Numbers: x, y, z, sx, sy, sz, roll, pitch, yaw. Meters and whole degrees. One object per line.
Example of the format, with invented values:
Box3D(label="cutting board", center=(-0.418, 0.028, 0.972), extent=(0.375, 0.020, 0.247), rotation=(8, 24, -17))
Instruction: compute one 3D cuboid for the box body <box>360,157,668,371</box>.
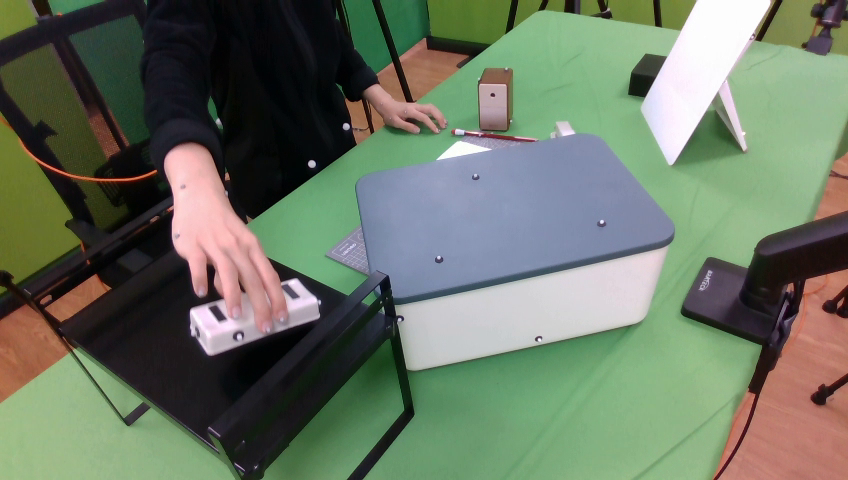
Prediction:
Box3D(label="box body", center=(0.109, 0.014, 0.833), extent=(0.365, 0.161, 0.252), rotation=(-11, 41, -5))

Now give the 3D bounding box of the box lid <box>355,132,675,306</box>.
Box3D(label="box lid", center=(0.103, -0.042, 0.785), extent=(0.372, 0.015, 0.261), rotation=(-12, 41, -5))

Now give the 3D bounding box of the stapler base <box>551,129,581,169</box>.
Box3D(label="stapler base", center=(0.268, -0.178, 1.142), extent=(0.041, 0.024, 0.130), rotation=(0, 37, 3))

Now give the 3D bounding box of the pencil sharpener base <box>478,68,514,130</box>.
Box3D(label="pencil sharpener base", center=(0.148, -0.286, 1.224), extent=(0.061, 0.107, 0.076), rotation=(5, 41, 15))

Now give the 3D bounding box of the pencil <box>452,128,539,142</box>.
Box3D(label="pencil", center=(0.147, -0.207, 1.205), extent=(0.193, 0.012, 0.012), rotation=(10, 43, 19))

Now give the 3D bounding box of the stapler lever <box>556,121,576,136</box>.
Box3D(label="stapler lever", center=(0.266, -0.198, 1.128), extent=(0.027, 0.040, 0.117), rotation=(0, 38, 3))

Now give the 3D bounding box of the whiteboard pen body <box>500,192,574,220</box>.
Box3D(label="whiteboard pen body", center=(0.191, -0.059, 1.011), extent=(0.141, 0.017, 0.017), rotation=(-18, 41, -16))

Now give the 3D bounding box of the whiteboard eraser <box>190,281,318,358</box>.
Box3D(label="whiteboard eraser", center=(-0.166, 0.079, 0.594), extent=(0.113, 0.042, 0.055), rotation=(-18, 32, -34))

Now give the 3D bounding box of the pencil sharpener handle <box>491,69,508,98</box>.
Box3D(label="pencil sharpener handle", center=(0.155, -0.329, 1.254), extent=(0.036, 0.068, 0.030), rotation=(17, 43, 3))

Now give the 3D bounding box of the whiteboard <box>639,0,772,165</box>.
Box3D(label="whiteboard", center=(0.543, -0.298, 1.076), extent=(0.144, 0.305, 0.216), rotation=(12, 40, -7))

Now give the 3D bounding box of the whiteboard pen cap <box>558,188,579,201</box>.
Box3D(label="whiteboard pen cap", center=(0.245, -0.077, 1.028), extent=(0.033, 0.018, 0.018), rotation=(-18, 42, -15))
